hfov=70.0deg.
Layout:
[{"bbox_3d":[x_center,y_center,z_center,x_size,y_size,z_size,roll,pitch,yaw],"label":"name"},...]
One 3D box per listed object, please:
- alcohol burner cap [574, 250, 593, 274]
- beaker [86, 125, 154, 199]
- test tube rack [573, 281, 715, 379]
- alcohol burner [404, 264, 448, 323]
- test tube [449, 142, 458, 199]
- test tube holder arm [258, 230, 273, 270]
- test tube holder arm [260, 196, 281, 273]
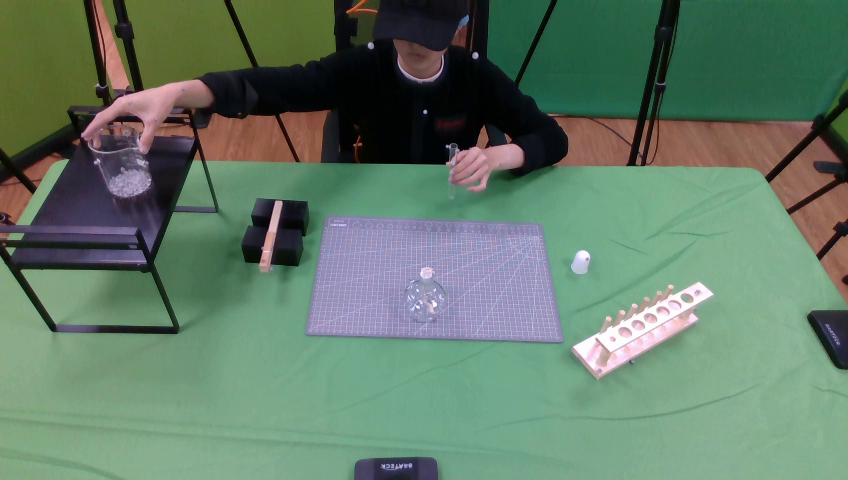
[{"bbox_3d":[0.308,0.039,1.163,0.034,0.048,0.033,1,46,-1],"label":"alcohol burner cap"},{"bbox_3d":[-0.482,-0.123,0.977,0.084,0.101,0.073,12,47,8],"label":"beaker"},{"bbox_3d":[0.378,0.140,1.038,0.242,0.085,0.066,-22,51,-23],"label":"test tube rack"},{"bbox_3d":[0.003,0.087,1.042,0.078,0.120,0.077,1,45,0],"label":"alcohol burner"},{"bbox_3d":[0.058,-0.133,1.191,0.017,0.151,0.017,0,52,1],"label":"test tube"},{"bbox_3d":[-0.282,0.017,1.085,0.015,0.010,0.087,-3,49,2],"label":"test tube holder arm"},{"bbox_3d":[-0.282,-0.013,1.119,0.015,0.013,0.177,-3,50,2],"label":"test tube holder arm"}]
